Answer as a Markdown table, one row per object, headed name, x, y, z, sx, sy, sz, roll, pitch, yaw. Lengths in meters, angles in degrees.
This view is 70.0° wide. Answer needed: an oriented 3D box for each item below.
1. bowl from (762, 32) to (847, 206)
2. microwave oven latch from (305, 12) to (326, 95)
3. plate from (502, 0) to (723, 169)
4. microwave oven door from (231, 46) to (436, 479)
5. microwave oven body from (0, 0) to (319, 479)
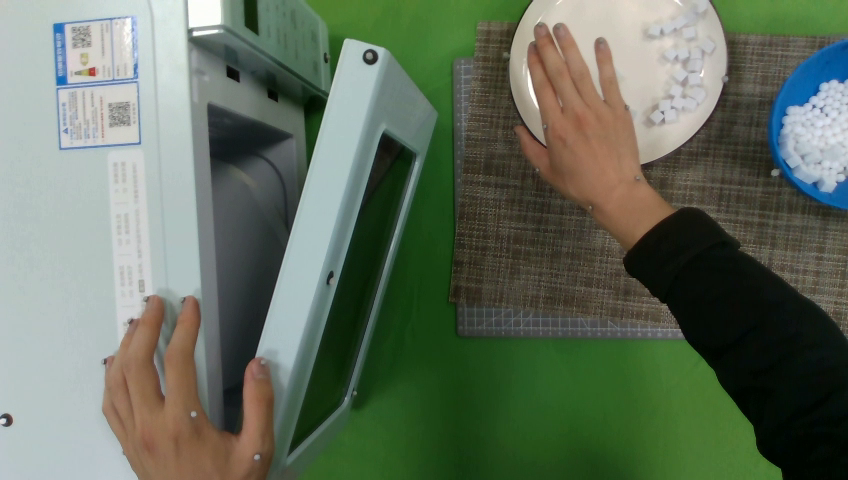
| name | x | y | z | sx | sy | sz | roll | pitch | yaw |
| --- | --- | --- | --- | --- | --- | --- | --- | --- | --- |
| bowl | 0.381 | -0.105 | 0.557 | 0.151 | 0.077 | 0.151 | 0 | 92 | 9 |
| microwave oven latch | -0.121 | -0.195 | 0.638 | 0.030 | 0.029 | 0.079 | -2 | 93 | 9 |
| plate | 0.184 | -0.173 | 0.605 | 0.209 | 0.038 | 0.209 | 0 | 92 | 9 |
| microwave oven door | -0.071 | 0.034 | 0.539 | 0.039 | 0.244 | 0.356 | 17 | 95 | 9 |
| microwave oven body | -0.273 | -0.008 | 0.573 | 0.325 | 0.260 | 0.441 | -3 | 93 | 9 |
